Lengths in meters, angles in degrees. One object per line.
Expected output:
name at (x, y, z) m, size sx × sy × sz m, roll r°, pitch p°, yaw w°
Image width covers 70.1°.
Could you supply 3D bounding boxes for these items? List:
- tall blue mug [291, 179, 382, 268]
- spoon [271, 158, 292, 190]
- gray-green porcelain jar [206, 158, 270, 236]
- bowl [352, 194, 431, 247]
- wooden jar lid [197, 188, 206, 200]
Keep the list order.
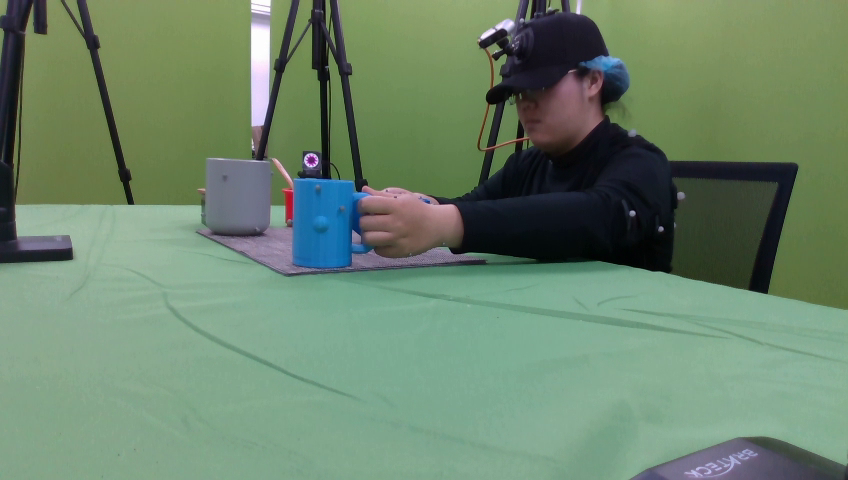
tall blue mug at (-0.117, -0.023, 0.778) m, size 0.108 × 0.108 × 0.077 m, roll -2°, pitch 8°, yaw -33°
spoon at (-0.268, -0.103, 1.236) m, size 0.042 × 0.193 × 0.021 m, roll -9°, pitch -32°, yaw -40°
gray-green porcelain jar at (-0.317, -0.074, 1.032) m, size 0.106 × 0.126 × 0.106 m, roll 3°, pitch 7°, yaw 0°
bowl at (-0.066, -0.031, 0.984) m, size 0.151 × 0.077 × 0.151 m, roll 2°, pitch 7°, yaw 0°
wooden jar lid at (-0.382, -0.088, 1.175) m, size 0.108 × 0.020 × 0.108 m, roll 3°, pitch 8°, yaw 0°
